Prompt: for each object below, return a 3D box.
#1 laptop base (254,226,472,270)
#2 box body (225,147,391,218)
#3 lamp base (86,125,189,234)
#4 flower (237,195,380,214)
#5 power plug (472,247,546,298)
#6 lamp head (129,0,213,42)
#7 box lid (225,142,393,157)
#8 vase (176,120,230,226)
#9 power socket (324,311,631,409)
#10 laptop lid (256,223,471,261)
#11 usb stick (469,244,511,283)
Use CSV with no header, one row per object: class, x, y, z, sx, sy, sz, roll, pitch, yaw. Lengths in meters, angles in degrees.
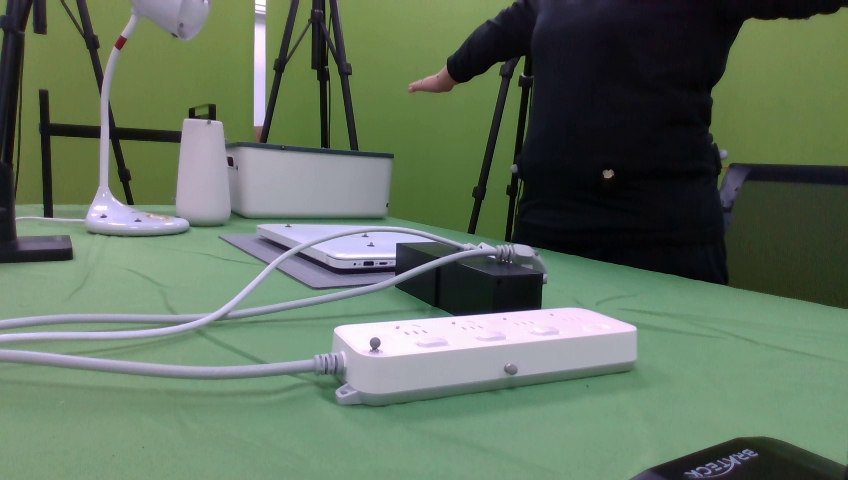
laptop base,-0.095,0.011,0.912,0.237,0.023,0.352,2,6,-32
box body,-0.289,-0.143,1.475,0.366,0.160,0.253,-1,9,-29
lamp base,-0.497,-0.105,1.027,0.179,0.180,0.160,1,7,3
flower,-0.284,-0.080,1.481,0.361,0.038,0.044,5,34,7
power plug,0.081,0.030,0.584,0.072,0.052,0.035,11,28,8
lamp head,-0.423,-0.394,0.980,0.123,0.112,0.112,20,7,-3
box lid,-0.286,-0.217,1.464,0.373,0.015,0.262,-1,7,-28
vase,-0.425,-0.128,1.159,0.098,0.200,0.098,2,9,0
power socket,0.042,0.075,0.411,0.228,0.032,0.072,-1,8,-25
laptop lid,-0.092,0.000,0.912,0.243,0.013,0.355,2,7,-30
usb stick,0.080,0.029,0.674,0.059,0.021,0.027,28,27,-30
